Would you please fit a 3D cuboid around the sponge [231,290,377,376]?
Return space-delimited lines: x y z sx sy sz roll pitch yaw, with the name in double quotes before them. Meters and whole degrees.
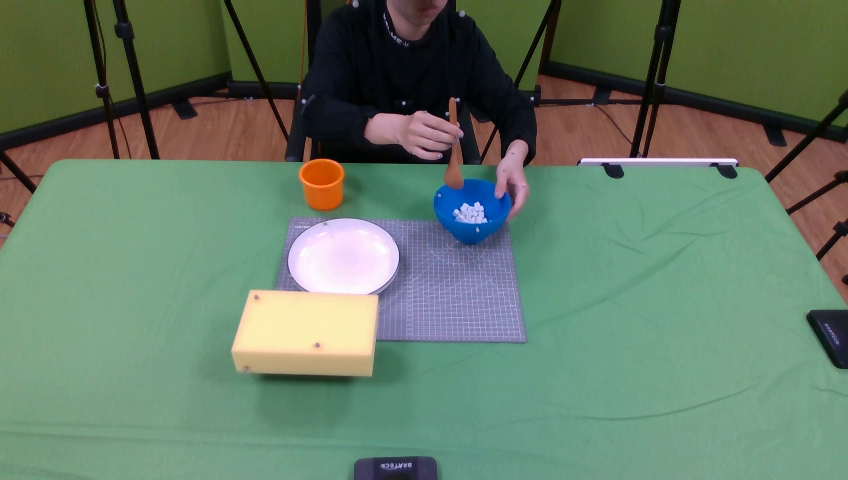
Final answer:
"sponge" -0.180 0.145 0.949 0.207 0.061 0.117 2 46 -2

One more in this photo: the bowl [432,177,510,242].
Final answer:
"bowl" 0.089 -0.050 1.180 0.151 0.077 0.150 1 39 0

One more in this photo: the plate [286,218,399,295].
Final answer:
"plate" -0.150 0.041 1.131 0.209 0.038 0.208 2 45 -2

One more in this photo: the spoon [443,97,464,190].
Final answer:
"spoon" 0.052 -0.170 1.097 0.041 0.195 0.021 13 40 20
